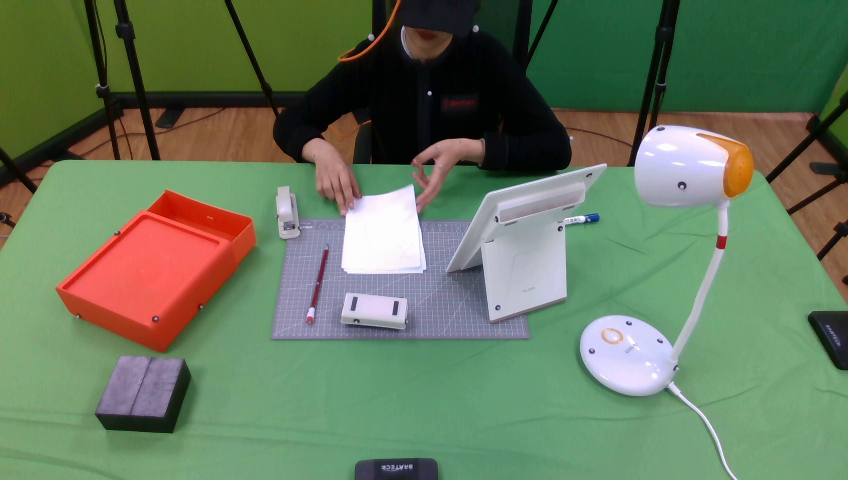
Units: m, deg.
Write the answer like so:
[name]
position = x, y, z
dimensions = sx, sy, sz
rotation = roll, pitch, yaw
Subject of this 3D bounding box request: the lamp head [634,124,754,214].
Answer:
[lamp head]
position = 0.351, -0.089, 0.775
dimensions = 0.112, 0.113, 0.122
rotation = -30, 30, -28

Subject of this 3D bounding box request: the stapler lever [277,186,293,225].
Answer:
[stapler lever]
position = -0.279, -0.076, 1.211
dimensions = 0.027, 0.040, 0.117
rotation = -8, 44, -11

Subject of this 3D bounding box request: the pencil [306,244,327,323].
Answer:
[pencil]
position = -0.196, 0.076, 1.115
dimensions = 0.012, 0.012, 0.193
rotation = 4, 44, 0

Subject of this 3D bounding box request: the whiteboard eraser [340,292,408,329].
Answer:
[whiteboard eraser]
position = -0.087, 0.125, 1.052
dimensions = 0.113, 0.042, 0.055
rotation = 5, 45, 1

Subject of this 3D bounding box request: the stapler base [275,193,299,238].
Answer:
[stapler base]
position = -0.279, -0.056, 1.228
dimensions = 0.041, 0.024, 0.129
rotation = -8, 44, -11

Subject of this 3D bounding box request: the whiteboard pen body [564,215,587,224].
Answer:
[whiteboard pen body]
position = 0.291, -0.040, 1.261
dimensions = 0.141, 0.017, 0.017
rotation = -6, 47, -11

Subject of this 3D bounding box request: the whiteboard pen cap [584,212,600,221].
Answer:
[whiteboard pen cap]
position = 0.351, -0.049, 1.271
dimensions = 0.033, 0.018, 0.018
rotation = -7, 47, -11

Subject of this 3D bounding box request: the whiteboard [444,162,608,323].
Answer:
[whiteboard]
position = 0.186, 0.025, 1.028
dimensions = 0.217, 0.306, 0.143
rotation = -14, 68, -18

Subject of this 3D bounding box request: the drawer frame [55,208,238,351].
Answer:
[drawer frame]
position = -0.474, 0.062, 1.059
dimensions = 0.201, 0.083, 0.213
rotation = 19, 48, 13

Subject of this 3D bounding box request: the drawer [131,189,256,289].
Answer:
[drawer]
position = -0.449, 0.018, 1.105
dimensions = 0.194, 0.073, 0.211
rotation = 19, 48, 12

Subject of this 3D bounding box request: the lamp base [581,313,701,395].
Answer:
[lamp base]
position = 0.361, 0.144, 0.972
dimensions = 0.178, 0.181, 0.160
rotation = 34, 53, 23
